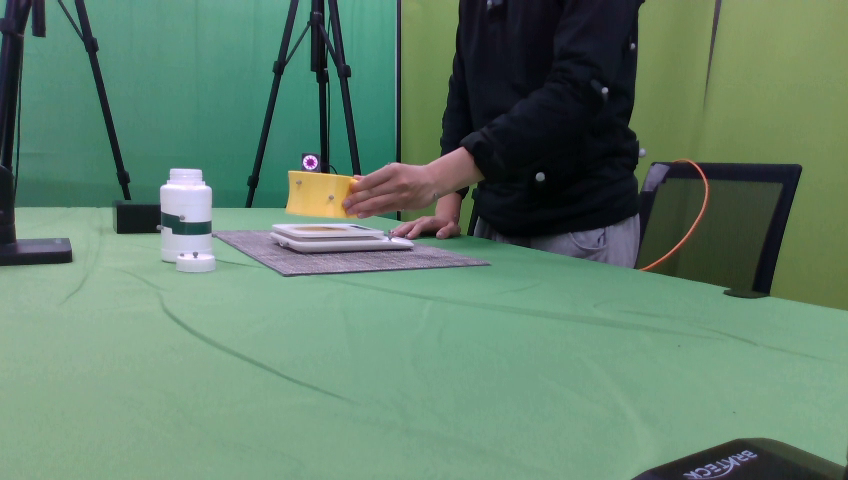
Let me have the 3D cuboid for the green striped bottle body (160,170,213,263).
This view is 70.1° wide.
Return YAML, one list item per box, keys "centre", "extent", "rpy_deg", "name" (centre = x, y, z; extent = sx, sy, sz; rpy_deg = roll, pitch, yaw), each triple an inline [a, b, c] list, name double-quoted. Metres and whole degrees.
- centre: [-0.312, -0.033, 0.797]
  extent: [0.063, 0.119, 0.063]
  rpy_deg: [2, 7, 0]
  name: "green striped bottle body"

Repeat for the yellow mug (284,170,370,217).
- centre: [-0.147, -0.070, 0.929]
  extent: [0.131, 0.064, 0.100]
  rpy_deg: [6, 4, 7]
  name: "yellow mug"

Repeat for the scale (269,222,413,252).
- centre: [-0.132, -0.007, 0.965]
  extent: [0.202, 0.031, 0.148]
  rpy_deg: [-2, 8, -31]
  name: "scale"

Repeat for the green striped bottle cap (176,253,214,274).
- centre: [-0.280, 0.029, 0.740]
  extent: [0.044, 0.020, 0.044]
  rpy_deg: [7, 4, 0]
  name: "green striped bottle cap"
